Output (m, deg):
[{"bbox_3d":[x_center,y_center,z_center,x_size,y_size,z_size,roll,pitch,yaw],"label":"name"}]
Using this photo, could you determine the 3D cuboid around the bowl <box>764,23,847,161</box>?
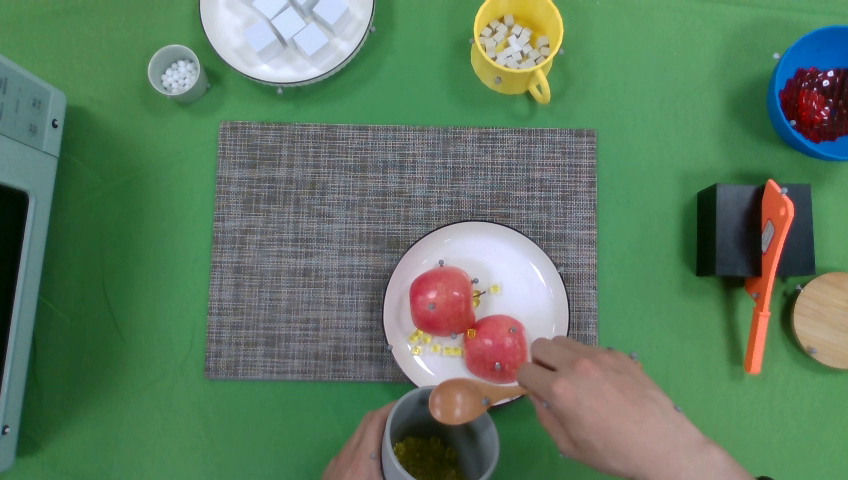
[{"bbox_3d":[0.449,-0.155,0.683,0.151,0.077,0.151,0,84,1],"label":"bowl"}]

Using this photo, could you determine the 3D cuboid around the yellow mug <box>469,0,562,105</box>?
[{"bbox_3d":[0.111,-0.216,0.702,0.100,0.064,0.130,-27,85,-2],"label":"yellow mug"}]

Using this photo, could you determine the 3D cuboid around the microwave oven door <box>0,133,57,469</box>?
[{"bbox_3d":[-0.462,0.060,0.574,0.039,0.244,0.355,4,84,2],"label":"microwave oven door"}]

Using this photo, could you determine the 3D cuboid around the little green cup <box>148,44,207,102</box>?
[{"bbox_3d":[-0.289,-0.195,0.718,0.061,0.039,0.061,0,84,0],"label":"little green cup"}]

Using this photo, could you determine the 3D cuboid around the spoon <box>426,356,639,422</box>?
[{"bbox_3d":[0.086,0.125,0.514,0.193,0.022,0.041,-19,80,31],"label":"spoon"}]

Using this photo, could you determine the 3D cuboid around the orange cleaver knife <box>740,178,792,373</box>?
[{"bbox_3d":[0.365,0.041,0.662,0.012,0.077,0.212,3,108,5],"label":"orange cleaver knife"}]

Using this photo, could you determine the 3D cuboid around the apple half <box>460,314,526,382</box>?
[{"bbox_3d":[0.078,0.120,0.670,0.081,0.033,0.081,0,80,1],"label":"apple half"}]

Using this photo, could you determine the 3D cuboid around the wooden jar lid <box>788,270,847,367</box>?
[{"bbox_3d":[0.465,0.089,0.686,0.108,0.021,0.108,0,84,3],"label":"wooden jar lid"}]

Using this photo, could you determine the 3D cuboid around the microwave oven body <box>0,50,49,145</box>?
[{"bbox_3d":[-0.604,0.007,0.587,0.326,0.260,0.440,5,84,1],"label":"microwave oven body"}]

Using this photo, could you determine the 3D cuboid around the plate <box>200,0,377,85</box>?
[{"bbox_3d":[-0.159,-0.283,0.727,0.208,0.039,0.207,0,84,1],"label":"plate"}]

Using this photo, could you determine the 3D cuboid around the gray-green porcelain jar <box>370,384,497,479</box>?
[{"bbox_3d":[0.004,0.218,0.582,0.106,0.127,0.105,8,42,-7],"label":"gray-green porcelain jar"}]

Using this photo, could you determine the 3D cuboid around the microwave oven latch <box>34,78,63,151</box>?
[{"bbox_3d":[-0.440,-0.145,0.697,0.030,0.029,0.079,8,85,1],"label":"microwave oven latch"}]

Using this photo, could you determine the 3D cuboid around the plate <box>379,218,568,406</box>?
[{"bbox_3d":[0.054,0.080,0.681,0.209,0.038,0.208,0,84,1],"label":"plate"}]

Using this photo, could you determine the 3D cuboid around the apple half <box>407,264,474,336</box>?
[{"bbox_3d":[0.017,0.066,0.667,0.074,0.053,0.080,-1,84,3],"label":"apple half"}]
